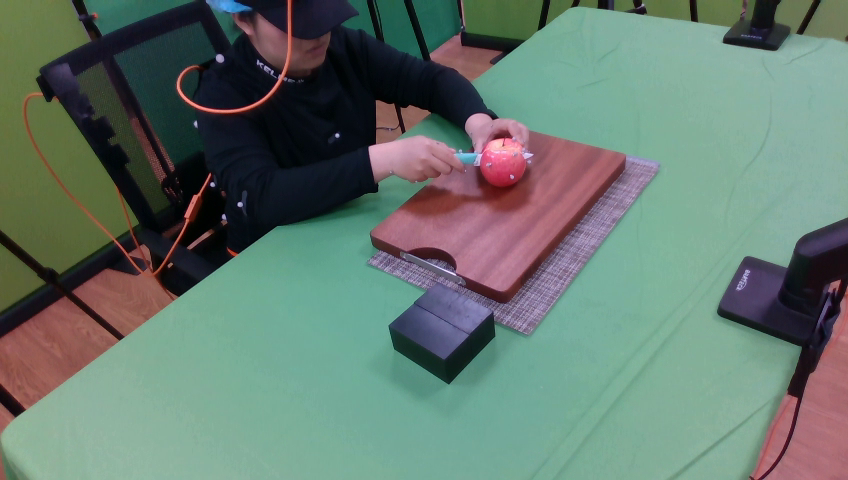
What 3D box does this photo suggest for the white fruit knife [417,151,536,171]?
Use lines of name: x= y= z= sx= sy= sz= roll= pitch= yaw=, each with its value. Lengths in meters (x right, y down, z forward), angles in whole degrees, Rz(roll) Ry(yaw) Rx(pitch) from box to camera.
white fruit knife: x=0.086 y=-0.138 z=1.026 sx=0.207 sy=0.027 sz=0.016 roll=-3 pitch=38 yaw=15

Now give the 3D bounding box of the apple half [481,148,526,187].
apple half: x=0.132 y=-0.116 z=1.014 sx=0.081 sy=0.081 sz=0.032 roll=0 pitch=39 yaw=12

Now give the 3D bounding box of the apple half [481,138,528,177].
apple half: x=0.139 y=-0.141 z=1.044 sx=0.080 sy=0.075 sz=0.053 roll=-2 pitch=36 yaw=14
